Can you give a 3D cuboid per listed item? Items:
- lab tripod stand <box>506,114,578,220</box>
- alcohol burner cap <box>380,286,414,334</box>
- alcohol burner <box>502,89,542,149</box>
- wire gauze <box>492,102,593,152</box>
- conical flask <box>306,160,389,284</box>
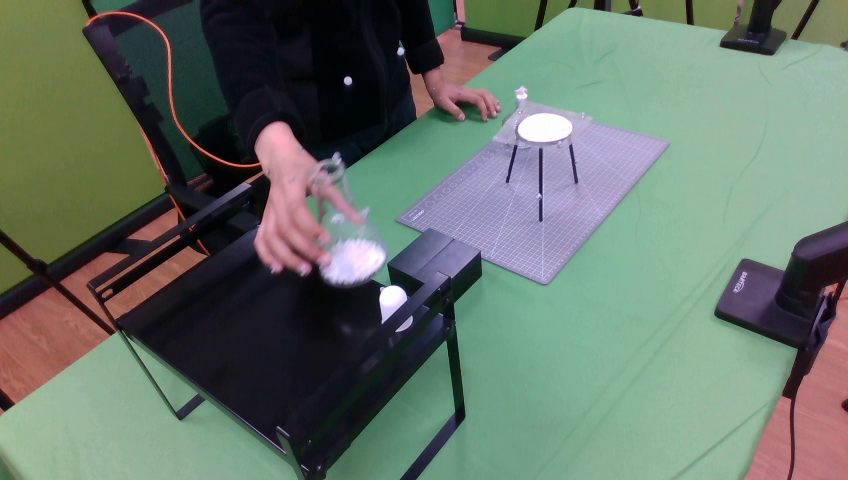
[{"bbox_3d":[0.198,-0.128,1.005,0.148,0.132,0.147,-3,42,3],"label":"lab tripod stand"},{"bbox_3d":[-0.029,0.068,0.605,0.034,0.048,0.033,-5,39,4],"label":"alcohol burner cap"},{"bbox_3d":[0.186,-0.235,1.149,0.078,0.119,0.077,-5,42,5],"label":"alcohol burner"},{"bbox_3d":[0.190,-0.180,0.964,0.120,0.011,0.125,19,48,27],"label":"wire gauze"},{"bbox_3d":[-0.084,-0.019,0.613,0.075,0.122,0.075,-8,36,7],"label":"conical flask"}]
